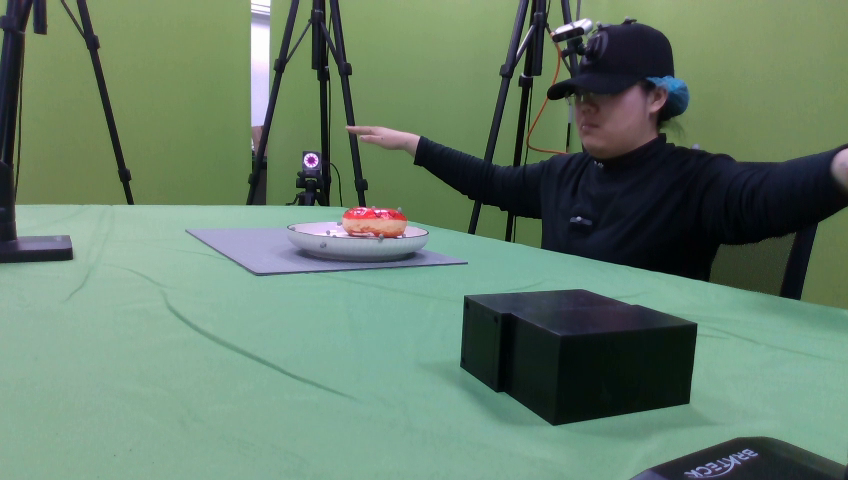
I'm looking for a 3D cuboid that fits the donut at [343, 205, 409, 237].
[{"bbox_3d":[-0.072,-0.027,0.894,0.099,0.048,0.099,4,3,0],"label":"donut"}]

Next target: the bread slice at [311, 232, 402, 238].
[{"bbox_3d":[-0.101,0.002,0.885,0.135,0.018,0.106,-3,8,-38],"label":"bread slice"}]

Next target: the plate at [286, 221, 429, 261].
[{"bbox_3d":[-0.096,0.001,0.886,0.209,0.038,0.209,2,7,0],"label":"plate"}]
